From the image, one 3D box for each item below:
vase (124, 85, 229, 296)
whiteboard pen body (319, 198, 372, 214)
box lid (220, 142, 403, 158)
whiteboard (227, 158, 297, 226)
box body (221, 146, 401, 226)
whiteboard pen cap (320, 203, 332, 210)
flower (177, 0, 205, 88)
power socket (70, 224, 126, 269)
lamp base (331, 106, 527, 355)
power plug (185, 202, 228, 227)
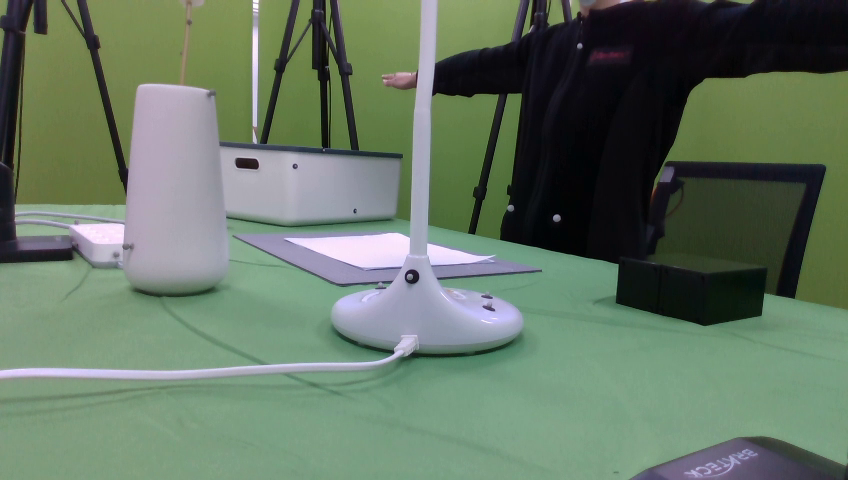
[{"bbox_3d":[-0.244,-0.047,0.598,0.098,0.200,0.098,3,8,0],"label":"vase"},{"bbox_3d":[-0.197,-0.087,1.510,0.140,0.017,0.017,14,10,10],"label":"whiteboard pen body"},{"bbox_3d":[-0.252,-0.202,1.368,0.262,0.015,0.373,9,9,36],"label":"box lid"},{"bbox_3d":[-0.265,-0.116,1.372,0.216,0.143,0.307,4,7,35],"label":"whiteboard"},{"bbox_3d":[-0.254,-0.129,1.379,0.253,0.160,0.366,8,9,36],"label":"box body"},{"bbox_3d":[-0.247,-0.084,1.531,0.033,0.018,0.018,10,11,38],"label":"whiteboard pen cap"},{"bbox_3d":[-0.243,-0.131,0.609,0.044,0.361,0.038,-5,-12,12],"label":"flower"},{"bbox_3d":[-0.409,0.004,0.792,0.072,0.032,0.225,-2,8,-37],"label":"power socket"},{"bbox_3d":[0.006,-0.012,0.478,0.161,0.180,0.179,2,10,2],"label":"lamp base"},{"bbox_3d":[-0.408,-0.044,1.151,0.072,0.052,0.035,-17,5,15],"label":"power plug"}]
